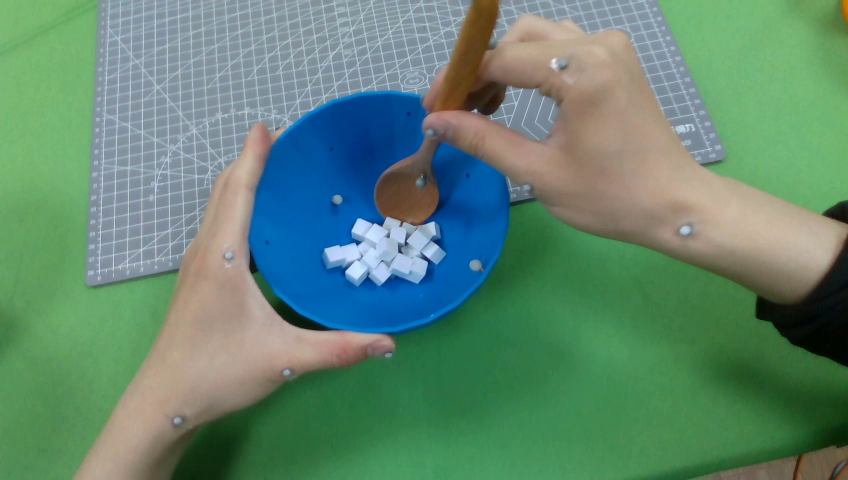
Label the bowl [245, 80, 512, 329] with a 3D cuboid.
[{"bbox_3d":[-0.024,-0.012,0.375,0.151,0.077,0.150,-1,71,3],"label":"bowl"}]

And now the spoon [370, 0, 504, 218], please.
[{"bbox_3d":[0.005,-0.058,0.312,0.042,0.194,0.021,20,66,-7],"label":"spoon"}]
